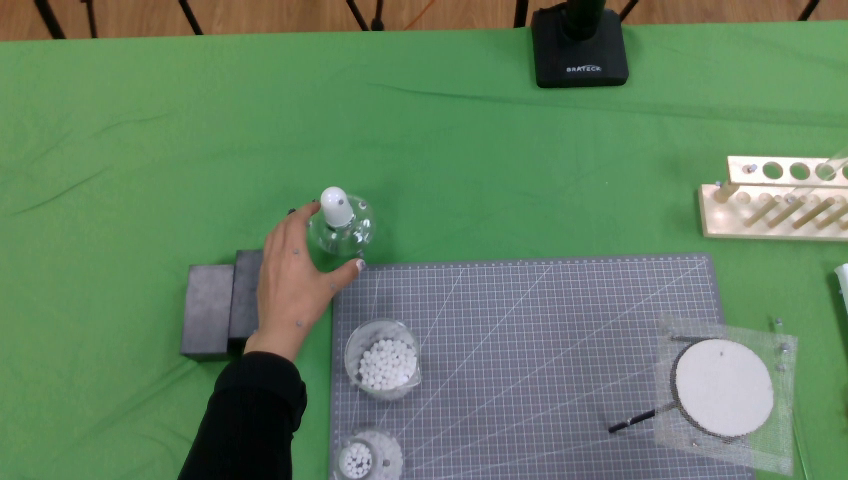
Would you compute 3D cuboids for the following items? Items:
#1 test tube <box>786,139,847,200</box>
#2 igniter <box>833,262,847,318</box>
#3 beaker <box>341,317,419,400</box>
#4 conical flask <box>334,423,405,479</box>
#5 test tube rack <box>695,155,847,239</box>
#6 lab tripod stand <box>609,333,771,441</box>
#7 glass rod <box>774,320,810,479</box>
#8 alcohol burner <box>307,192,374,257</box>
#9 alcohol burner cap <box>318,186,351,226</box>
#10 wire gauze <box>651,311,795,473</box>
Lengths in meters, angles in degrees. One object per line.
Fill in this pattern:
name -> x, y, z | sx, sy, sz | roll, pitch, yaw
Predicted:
test tube -> 0.440, -0.079, 0.664 | 0.017, 0.151, 0.017 | -1, 69, 4
igniter -> 0.496, 0.156, 0.661 | 0.057, 0.025, 0.274 | 3, 70, -8
beaker -> -0.039, 0.130, 0.636 | 0.083, 0.101, 0.074 | 33, 74, 12
conical flask -> -0.059, 0.214, 0.593 | 0.075, 0.122, 0.075 | 0, 70, 1
test tube rack -> 0.457, -0.048, 0.705 | 0.242, 0.086, 0.066 | 1, 69, 2
lab tripod stand -> 0.266, 0.154, 0.605 | 0.148, 0.132, 0.147 | 0, 71, 1
glass rod -> 0.404, 0.186, 0.662 | 0.008, 0.008, 0.198 | -1, 73, 0
alcohol burner -> -0.097, -0.025, 0.689 | 0.078, 0.120, 0.077 | -1, 71, 3
alcohol burner cap -> -0.098, -0.040, 0.656 | 0.034, 0.048, 0.033 | 0, 64, 0
wire gauze -> 0.268, 0.132, 0.541 | 0.125, 0.011, 0.121 | 11, 72, 6
